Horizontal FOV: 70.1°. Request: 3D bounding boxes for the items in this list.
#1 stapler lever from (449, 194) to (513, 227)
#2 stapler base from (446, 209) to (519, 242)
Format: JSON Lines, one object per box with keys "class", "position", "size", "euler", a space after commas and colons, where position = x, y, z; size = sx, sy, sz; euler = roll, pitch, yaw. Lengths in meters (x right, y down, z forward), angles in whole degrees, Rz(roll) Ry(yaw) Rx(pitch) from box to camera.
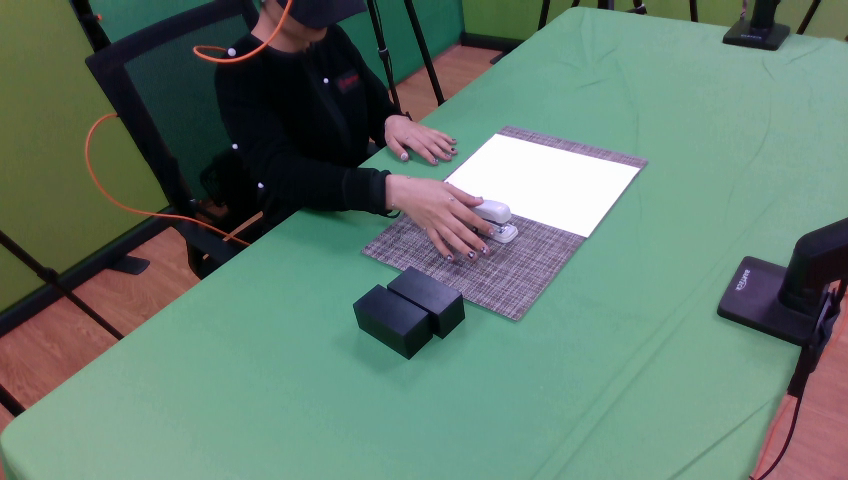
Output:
{"class": "stapler lever", "position": [0.092, -0.054, 0.985], "size": [0.117, 0.040, 0.027], "euler": [25, 48, 35]}
{"class": "stapler base", "position": [0.096, -0.035, 1.000], "size": [0.129, 0.024, 0.041], "euler": [24, 47, 35]}
